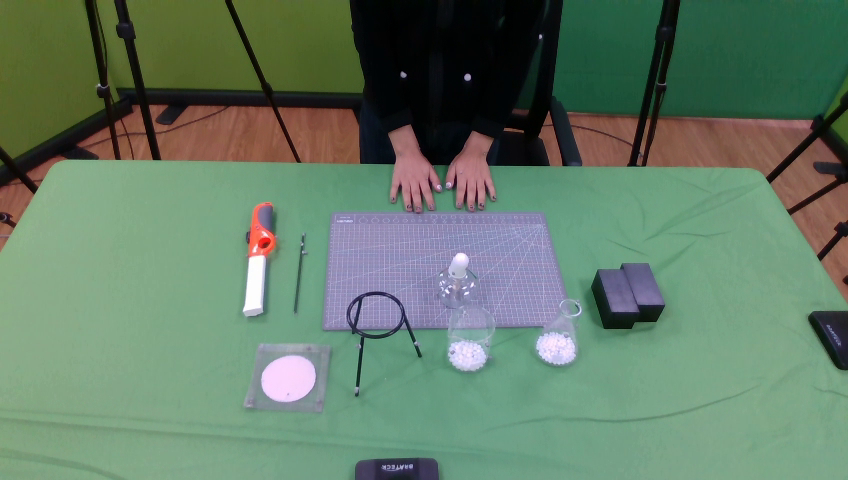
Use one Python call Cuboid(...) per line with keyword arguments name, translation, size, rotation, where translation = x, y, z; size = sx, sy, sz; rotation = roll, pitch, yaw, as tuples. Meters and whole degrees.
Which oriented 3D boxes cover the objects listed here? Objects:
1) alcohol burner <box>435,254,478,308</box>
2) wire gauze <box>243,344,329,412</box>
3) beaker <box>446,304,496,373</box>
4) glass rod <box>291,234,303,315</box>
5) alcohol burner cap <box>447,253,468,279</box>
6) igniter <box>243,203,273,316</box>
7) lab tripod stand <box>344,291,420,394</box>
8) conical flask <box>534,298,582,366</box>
Cuboid(name="alcohol burner", translation=(0.058, 0.066, 1.073), size=(0.078, 0.120, 0.077), rotation=(1, 48, -1))
Cuboid(name="wire gauze", translation=(-0.221, 0.219, 0.981), size=(0.125, 0.011, 0.120), rotation=(2, 45, 0))
Cuboid(name="beaker", translation=(0.072, 0.166, 0.992), size=(0.084, 0.101, 0.073), rotation=(-21, 51, -22))
Cuboid(name="glass rod", translation=(-0.237, 0.060, 1.134), size=(0.008, 0.008, 0.198), rotation=(-1, 46, -4))
Cuboid(name="alcohol burner cap", translation=(0.060, 0.043, 1.046), size=(0.034, 0.048, 0.033), rotation=(5, 50, -6))
Cuboid(name="igniter", translation=(-0.315, 0.027, 1.145), size=(0.057, 0.025, 0.274), rotation=(-10, 47, 0))
Cuboid(name="lab tripod stand", translation=(-0.075, 0.155, 0.967), size=(0.148, 0.132, 0.147), rotation=(3, 44, -3))
Cuboid(name="conical flask", translation=(0.229, 0.149, 1.005), size=(0.075, 0.122, 0.075), rotation=(2, 46, -2))
